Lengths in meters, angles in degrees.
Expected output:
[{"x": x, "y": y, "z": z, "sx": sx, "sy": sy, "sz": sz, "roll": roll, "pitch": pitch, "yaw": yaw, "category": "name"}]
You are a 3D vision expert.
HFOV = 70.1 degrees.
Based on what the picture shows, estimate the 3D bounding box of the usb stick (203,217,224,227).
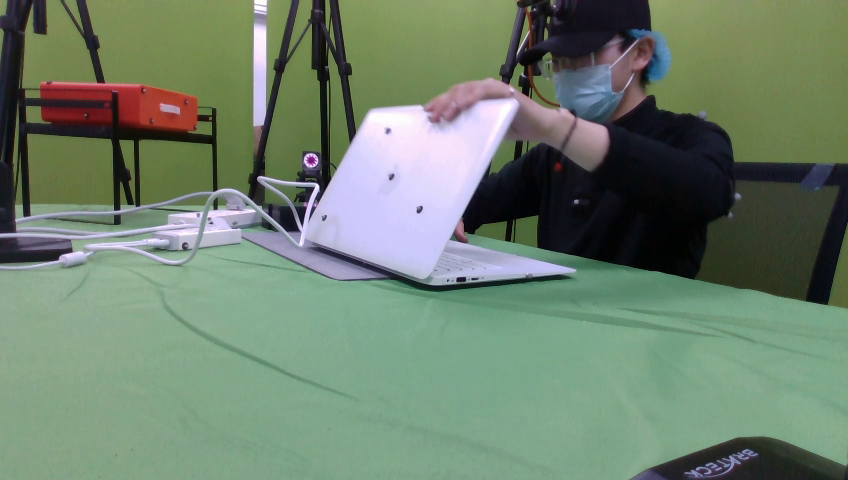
[{"x": -0.345, "y": -0.020, "z": 1.007, "sx": 0.021, "sy": 0.027, "sz": 0.059, "roll": -43, "pitch": -2, "yaw": -9, "category": "usb stick"}]

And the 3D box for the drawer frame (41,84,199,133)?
[{"x": -0.604, "y": -0.264, "z": 1.225, "sx": 0.213, "sy": 0.082, "sz": 0.202, "roll": 3, "pitch": 8, "yaw": 8, "category": "drawer frame"}]

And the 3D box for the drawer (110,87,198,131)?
[{"x": -0.602, "y": -0.263, "z": 1.225, "sx": 0.211, "sy": 0.073, "sz": 0.195, "roll": 3, "pitch": 8, "yaw": 10, "category": "drawer"}]

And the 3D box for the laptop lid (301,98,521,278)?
[{"x": -0.040, "y": -0.083, "z": 0.800, "sx": 0.013, "sy": 0.241, "sz": 0.355, "roll": 35, "pitch": -10, "yaw": -33, "category": "laptop lid"}]

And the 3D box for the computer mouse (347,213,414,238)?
[{"x": -0.079, "y": -0.025, "z": 1.080, "sx": 0.117, "sy": 0.041, "sz": 0.062, "roll": -5, "pitch": 11, "yaw": -18, "category": "computer mouse"}]

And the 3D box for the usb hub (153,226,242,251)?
[{"x": -0.337, "y": -0.003, "z": 0.907, "sx": 0.049, "sy": 0.025, "sz": 0.125, "roll": 6, "pitch": 9, "yaw": 28, "category": "usb hub"}]

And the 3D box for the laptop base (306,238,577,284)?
[{"x": 0.007, "y": 0.022, "z": 0.850, "sx": 0.237, "sy": 0.023, "sz": 0.352, "roll": 1, "pitch": 7, "yaw": -34, "category": "laptop base"}]

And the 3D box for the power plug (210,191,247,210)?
[{"x": -0.386, "y": -0.071, "z": 1.204, "sx": 0.072, "sy": 0.052, "sz": 0.035, "roll": 8, "pitch": 11, "yaw": 26, "category": "power plug"}]

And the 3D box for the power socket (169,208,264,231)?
[{"x": -0.381, "y": -0.038, "z": 1.128, "sx": 0.072, "sy": 0.032, "sz": 0.227, "roll": 4, "pitch": 8, "yaw": 17, "category": "power socket"}]
